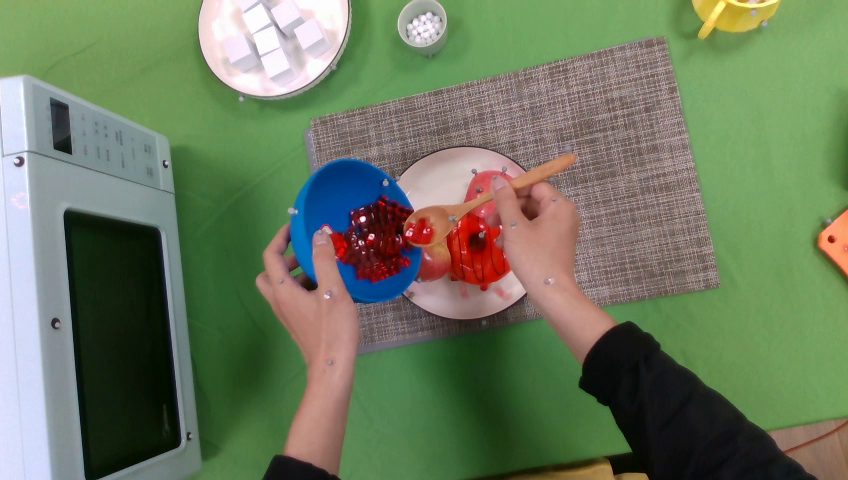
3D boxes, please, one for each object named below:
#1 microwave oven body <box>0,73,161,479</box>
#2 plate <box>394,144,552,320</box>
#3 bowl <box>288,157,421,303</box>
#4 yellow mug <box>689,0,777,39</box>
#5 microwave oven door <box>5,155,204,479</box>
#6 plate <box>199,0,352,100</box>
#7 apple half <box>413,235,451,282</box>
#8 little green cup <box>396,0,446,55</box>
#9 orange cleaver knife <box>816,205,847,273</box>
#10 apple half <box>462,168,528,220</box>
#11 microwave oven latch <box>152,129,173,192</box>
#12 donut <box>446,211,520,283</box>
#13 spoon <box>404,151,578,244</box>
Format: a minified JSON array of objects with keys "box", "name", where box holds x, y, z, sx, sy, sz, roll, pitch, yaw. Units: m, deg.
[{"box":[-0.485,0.087,0.700,0.325,0.261,0.440,-9,84,9],"name":"microwave oven body"},{"box":[0.047,-0.009,0.724,0.209,0.038,0.208,-1,85,10],"name":"plate"},{"box":[-0.084,-0.001,0.625,0.076,0.152,0.151,-21,80,43],"name":"bowl"},{"box":[0.348,-0.284,0.681,0.099,0.064,0.131,36,93,11],"name":"yellow mug"},{"box":[-0.339,0.105,0.666,0.039,0.245,0.354,-10,83,9],"name":"microwave oven door"},{"box":[-0.190,-0.282,0.793,0.207,0.039,0.207,-1,85,10],"name":"plate"},{"box":[-0.013,0.009,0.702,0.074,0.054,0.080,-15,79,50],"name":"apple half"},{"box":[-0.001,-0.263,0.757,0.061,0.039,0.061,-1,85,11],"name":"little green cup"},{"box":[0.502,0.057,0.649,0.077,0.012,0.210,-27,80,2],"name":"orange cleaver knife"},{"box":[0.085,-0.059,0.695,0.081,0.033,0.080,2,46,-2],"name":"apple half"},{"box":[-0.349,-0.102,0.788,0.030,0.029,0.079,-8,85,9],"name":"microwave oven latch"},{"box":[0.062,0.002,0.710,0.099,0.048,0.099,0,90,12],"name":"donut"},{"box":[0.062,-0.042,0.598,0.193,0.022,0.041,-24,80,30],"name":"spoon"}]
